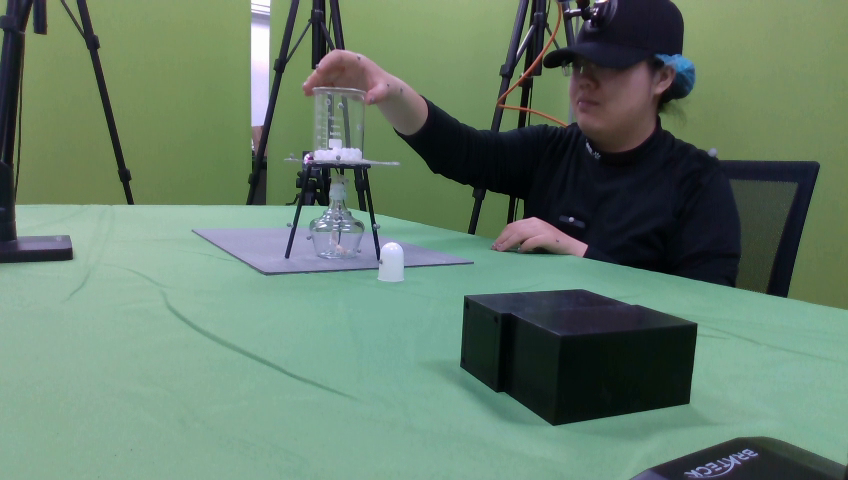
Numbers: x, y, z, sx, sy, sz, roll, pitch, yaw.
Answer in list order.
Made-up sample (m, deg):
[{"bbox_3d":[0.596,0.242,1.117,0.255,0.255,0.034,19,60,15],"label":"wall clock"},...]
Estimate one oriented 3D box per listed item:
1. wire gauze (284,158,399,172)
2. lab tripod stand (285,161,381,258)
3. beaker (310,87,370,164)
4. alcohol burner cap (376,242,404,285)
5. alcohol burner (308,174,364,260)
[{"bbox_3d":[-0.116,-0.108,0.835,0.126,0.011,0.121,0,10,-31],"label":"wire gauze"},{"bbox_3d":[-0.123,-0.043,0.842,0.148,0.131,0.148,3,9,0],"label":"lab tripod stand"},{"bbox_3d":[-0.116,-0.156,0.833,0.084,0.100,0.073,-2,10,-29],"label":"beaker"},{"bbox_3d":[-0.039,0.026,0.709,0.034,0.048,0.034,3,6,0],"label":"alcohol burner cap"},{"bbox_3d":[-0.121,-0.033,0.843,0.078,0.119,0.078,3,5,0],"label":"alcohol burner"}]
